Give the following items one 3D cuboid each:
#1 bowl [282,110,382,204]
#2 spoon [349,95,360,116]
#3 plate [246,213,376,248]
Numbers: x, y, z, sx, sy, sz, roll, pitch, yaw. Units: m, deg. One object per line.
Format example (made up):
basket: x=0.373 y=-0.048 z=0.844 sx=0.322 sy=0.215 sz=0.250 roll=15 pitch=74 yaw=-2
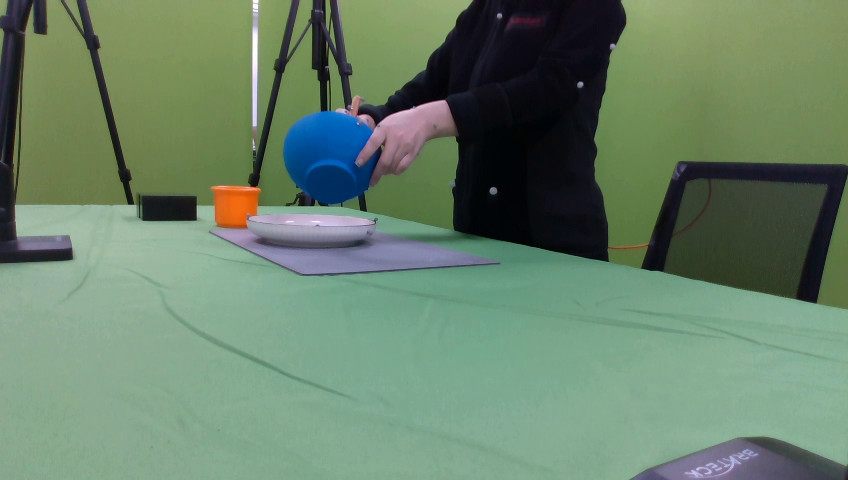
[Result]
bowl: x=-0.137 y=-0.106 z=0.892 sx=0.151 sy=0.151 sz=0.076 roll=2 pitch=44 yaw=-5
spoon: x=-0.127 y=-0.158 z=0.976 sx=0.041 sy=0.193 sz=0.021 roll=8 pitch=-30 yaw=0
plate: x=-0.185 y=-0.017 z=0.994 sx=0.209 sy=0.038 sz=0.209 roll=3 pitch=8 yaw=0
